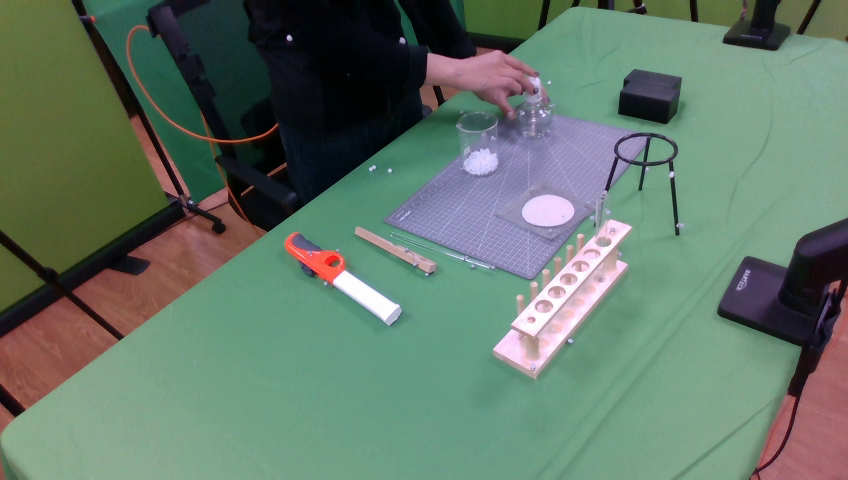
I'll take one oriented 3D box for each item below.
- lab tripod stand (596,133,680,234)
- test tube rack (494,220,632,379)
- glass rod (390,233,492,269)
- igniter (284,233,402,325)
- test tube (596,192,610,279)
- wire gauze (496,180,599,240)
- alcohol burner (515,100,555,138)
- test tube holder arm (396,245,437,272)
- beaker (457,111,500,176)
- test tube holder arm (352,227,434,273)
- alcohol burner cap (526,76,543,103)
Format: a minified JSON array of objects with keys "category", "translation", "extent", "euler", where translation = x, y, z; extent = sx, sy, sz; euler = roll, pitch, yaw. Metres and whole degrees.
[{"category":"lab tripod stand","translation":[0.338,-0.090,0.940],"extent":[0.148,0.132,0.147],"euler":[-7,39,6]},{"category":"test tube rack","translation":[0.191,0.068,0.818],"extent":[0.066,0.085,0.243],"euler":[25,51,35]},{"category":"glass rod","translation":[0.024,0.017,0.971],"extent":[0.198,0.008,0.008],"euler":[18,48,32]},{"category":"igniter","translation":[-0.136,0.054,0.942],"extent":[0.274,0.025,0.057],"euler":[30,64,37]},{"category":"test tube","translation":[0.240,-0.002,0.814],"extent":[0.017,0.151,0.017],"euler":[-7,42,7]},{"category":"wire gauze","translation":[0.206,-0.050,1.012],"extent":[0.125,0.011,0.120],"euler":[-34,45,-26]},{"category":"alcohol burner","translation":[0.215,-0.261,1.176],"extent":[0.078,0.119,0.077],"euler":[-4,39,4]},{"category":"test tube holder arm","translation":[-0.016,0.029,0.957],"extent":[0.087,0.015,0.010],"euler":[25,16,34]},{"category":"beaker","translation":[0.104,-0.176,1.108],"extent":[0.073,0.101,0.084],"euler":[16,46,27]},{"category":"test tube holder arm","translation":[-0.053,0.014,0.978],"extent":[0.177,0.015,0.013],"euler":[25,16,34]},{"category":"alcohol burner cap","translation":[0.211,-0.288,1.152],"extent":[0.034,0.048,0.033],"euler":[-4,46,5]}]
